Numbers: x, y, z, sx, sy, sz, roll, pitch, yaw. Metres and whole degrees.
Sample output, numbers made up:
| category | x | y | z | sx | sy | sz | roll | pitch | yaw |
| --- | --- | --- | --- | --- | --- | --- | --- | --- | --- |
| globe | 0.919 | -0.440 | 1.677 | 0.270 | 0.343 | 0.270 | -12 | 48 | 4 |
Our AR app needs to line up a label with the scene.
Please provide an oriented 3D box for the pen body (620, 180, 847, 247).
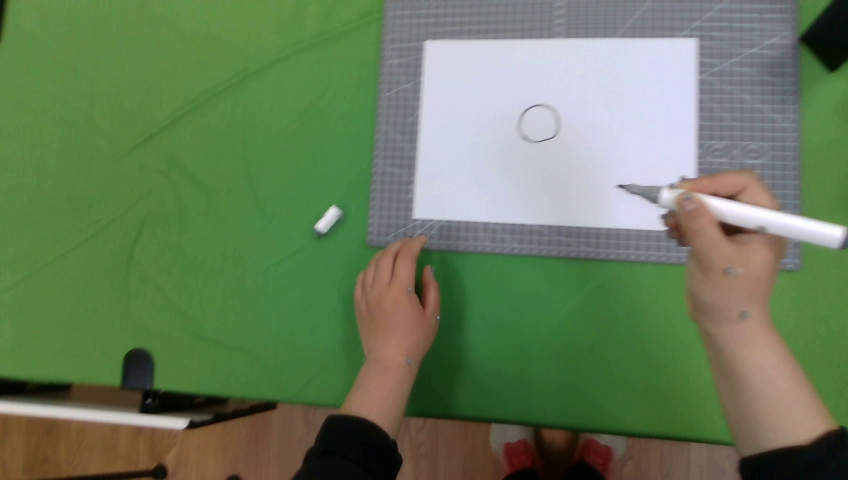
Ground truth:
| category | x | y | z | sx | sy | sz | roll | pitch | yaw |
| --- | --- | --- | --- | --- | --- | --- | --- | --- | --- |
| pen body | 0.202 | -0.021 | 0.405 | 0.143 | 0.017 | 0.017 | 18 | 86 | 25 |

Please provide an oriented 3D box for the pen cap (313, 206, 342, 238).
| category | x | y | z | sx | sy | sz | roll | pitch | yaw |
| --- | --- | --- | --- | --- | --- | --- | --- | --- | --- |
| pen cap | -0.110 | -0.020 | 0.691 | 0.017 | 0.017 | 0.038 | 42 | 91 | 13 |
